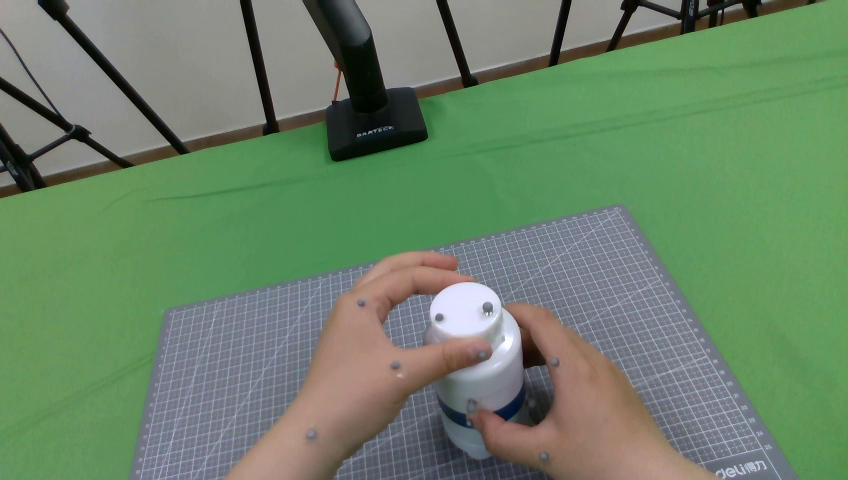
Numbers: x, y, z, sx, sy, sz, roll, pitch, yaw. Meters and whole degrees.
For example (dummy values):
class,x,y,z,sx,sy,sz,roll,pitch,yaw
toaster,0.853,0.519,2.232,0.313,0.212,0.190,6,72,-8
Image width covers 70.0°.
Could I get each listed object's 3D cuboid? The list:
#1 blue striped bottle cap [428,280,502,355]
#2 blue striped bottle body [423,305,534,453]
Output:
class,x,y,z,sx,sy,sz,roll,pitch,yaw
blue striped bottle cap,0.025,0.046,0.365,0.044,0.021,0.044,-4,46,5
blue striped bottle body,0.037,0.085,0.401,0.063,0.122,0.062,-8,43,8
